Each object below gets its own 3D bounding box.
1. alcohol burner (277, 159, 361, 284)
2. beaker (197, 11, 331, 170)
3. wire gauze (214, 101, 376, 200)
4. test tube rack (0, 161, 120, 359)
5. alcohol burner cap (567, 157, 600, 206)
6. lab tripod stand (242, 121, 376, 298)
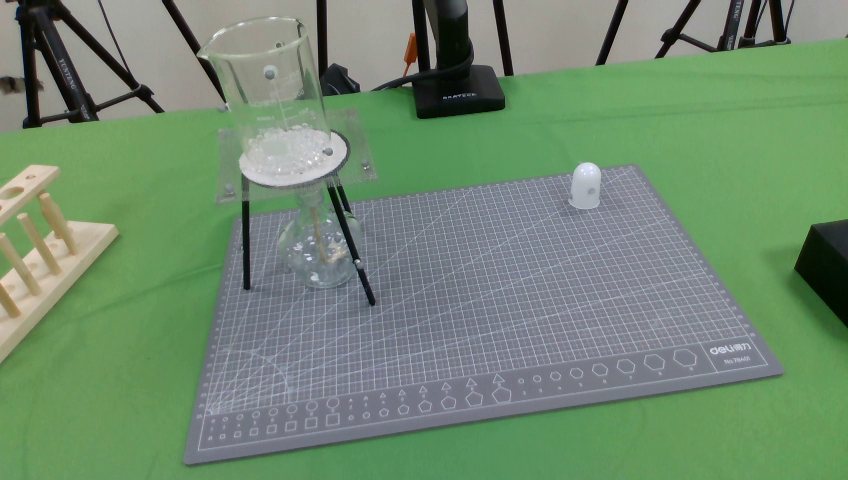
[{"bbox_3d":[-0.098,-0.019,0.546,0.078,0.120,0.077,-4,39,4],"label":"alcohol burner"},{"bbox_3d":[-0.116,-0.111,0.463,0.084,0.101,0.073,-12,40,-6],"label":"beaker"},{"bbox_3d":[-0.108,-0.074,0.495,0.125,0.011,0.120,-13,39,-5],"label":"wire gauze"},{"bbox_3d":[-0.389,0.031,0.546,0.066,0.086,0.240,5,41,12],"label":"test tube rack"},{"bbox_3d":[0.165,-0.062,0.623,0.034,0.048,0.033,-4,40,3],"label":"alcohol burner cap"},{"bbox_3d":[-0.103,-0.025,0.538,0.148,0.133,0.147,-4,42,4],"label":"lab tripod stand"}]
